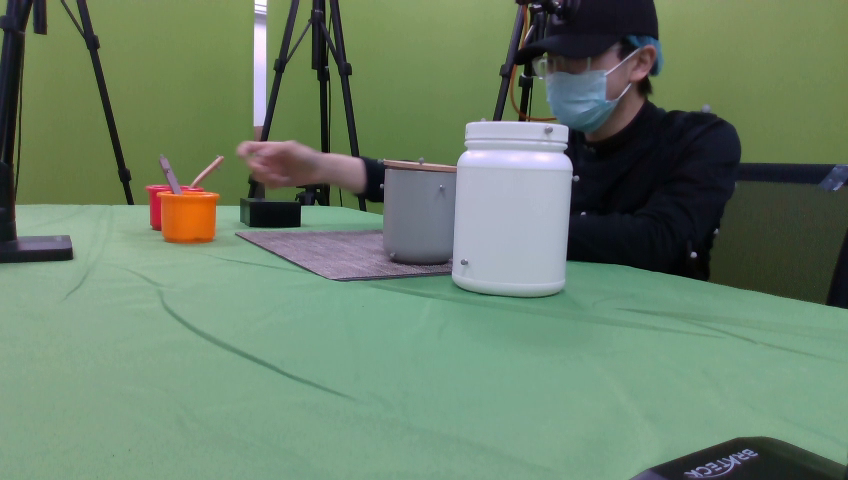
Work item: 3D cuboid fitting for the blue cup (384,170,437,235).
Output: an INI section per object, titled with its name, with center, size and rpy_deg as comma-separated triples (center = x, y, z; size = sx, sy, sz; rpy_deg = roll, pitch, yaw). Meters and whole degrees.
[blue cup]
center = -0.023, -0.061, 0.982
size = 0.093, 0.100, 0.092
rpy_deg = 3, 7, 0

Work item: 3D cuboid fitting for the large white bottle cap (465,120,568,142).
[large white bottle cap]
center = 0.103, -0.121, 0.677
size = 0.115, 0.018, 0.115
rpy_deg = 3, 7, 0

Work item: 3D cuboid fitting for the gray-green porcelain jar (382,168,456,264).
[gray-green porcelain jar]
center = -0.005, -0.034, 0.834
size = 0.106, 0.126, 0.106
rpy_deg = 3, 7, 0

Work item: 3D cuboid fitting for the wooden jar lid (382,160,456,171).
[wooden jar lid]
center = -0.003, -0.096, 0.826
size = 0.108, 0.020, 0.108
rpy_deg = 4, 10, 0

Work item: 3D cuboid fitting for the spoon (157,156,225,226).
[spoon]
center = -0.425, -0.094, 1.117
size = 0.041, 0.022, 0.194
rpy_deg = 3, 51, 30

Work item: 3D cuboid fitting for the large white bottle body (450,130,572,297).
[large white bottle body]
center = 0.099, -0.037, 0.688
size = 0.131, 0.184, 0.130
rpy_deg = 2, 7, 0

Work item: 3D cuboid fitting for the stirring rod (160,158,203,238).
[stirring rod]
center = -0.391, -0.070, 0.971
size = 0.014, 0.006, 0.175
rpy_deg = 1, 48, -50
